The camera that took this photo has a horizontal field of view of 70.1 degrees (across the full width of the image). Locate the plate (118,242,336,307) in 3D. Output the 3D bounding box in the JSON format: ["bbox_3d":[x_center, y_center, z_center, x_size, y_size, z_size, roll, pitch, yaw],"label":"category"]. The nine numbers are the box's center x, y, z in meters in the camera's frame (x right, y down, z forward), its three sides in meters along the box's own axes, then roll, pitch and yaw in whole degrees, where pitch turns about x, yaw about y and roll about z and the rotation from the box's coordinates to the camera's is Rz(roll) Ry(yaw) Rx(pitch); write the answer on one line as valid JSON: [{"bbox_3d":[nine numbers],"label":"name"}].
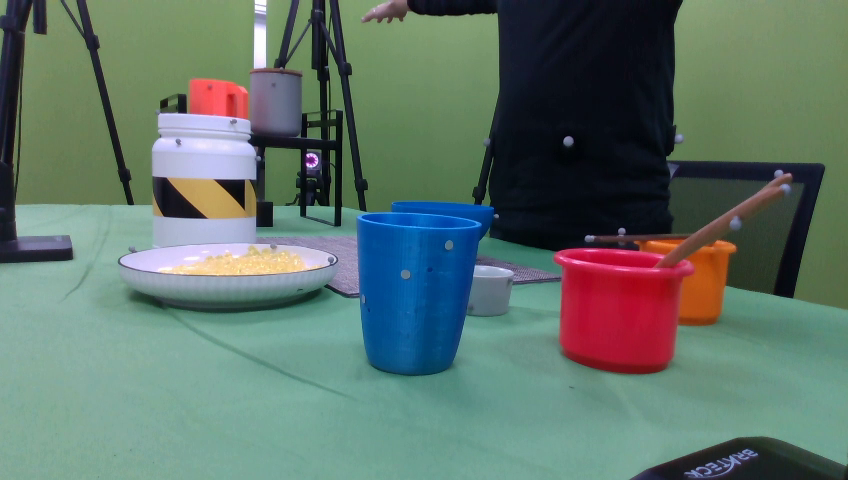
[{"bbox_3d":[-0.194,0.033,0.615,0.209,0.038,0.209,2,7,0],"label":"plate"}]

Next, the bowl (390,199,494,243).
[{"bbox_3d":[0.024,-0.015,0.871,0.151,0.077,0.151,3,7,0],"label":"bowl"}]

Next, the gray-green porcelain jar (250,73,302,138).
[{"bbox_3d":[-0.312,-0.280,1.270,0.106,0.126,0.106,3,8,0],"label":"gray-green porcelain jar"}]

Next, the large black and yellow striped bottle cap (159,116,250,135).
[{"bbox_3d":[-0.292,-0.153,0.810,0.115,0.019,0.115,3,9,0],"label":"large black and yellow striped bottle cap"}]

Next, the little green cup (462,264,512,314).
[{"bbox_3d":[0.053,0.047,0.580,0.061,0.038,0.061,3,8,0],"label":"little green cup"}]

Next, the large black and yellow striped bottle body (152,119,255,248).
[{"bbox_3d":[-0.296,-0.070,0.819,0.131,0.184,0.130,2,7,0],"label":"large black and yellow striped bottle body"}]

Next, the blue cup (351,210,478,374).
[{"bbox_3d":[-0.009,0.034,0.414,0.093,0.100,0.092,4,8,0],"label":"blue cup"}]

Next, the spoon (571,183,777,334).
[{"bbox_3d":[0.161,0.020,0.413,0.042,0.021,0.193,1,-37,-24],"label":"spoon"}]

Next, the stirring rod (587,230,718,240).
[{"bbox_3d":[0.226,-0.006,0.588,0.177,0.006,0.014,-2,10,-30],"label":"stirring rod"}]

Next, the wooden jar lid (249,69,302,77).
[{"bbox_3d":[-0.309,-0.341,1.262,0.108,0.020,0.108,1,8,0],"label":"wooden jar lid"}]

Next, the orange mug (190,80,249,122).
[{"bbox_3d":[-0.393,-0.257,1.173,0.126,0.100,0.084,1,6,25],"label":"orange mug"}]

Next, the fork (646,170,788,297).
[{"bbox_3d":[0.256,0.004,0.543,0.028,0.018,0.207,3,-36,-9],"label":"fork"}]
